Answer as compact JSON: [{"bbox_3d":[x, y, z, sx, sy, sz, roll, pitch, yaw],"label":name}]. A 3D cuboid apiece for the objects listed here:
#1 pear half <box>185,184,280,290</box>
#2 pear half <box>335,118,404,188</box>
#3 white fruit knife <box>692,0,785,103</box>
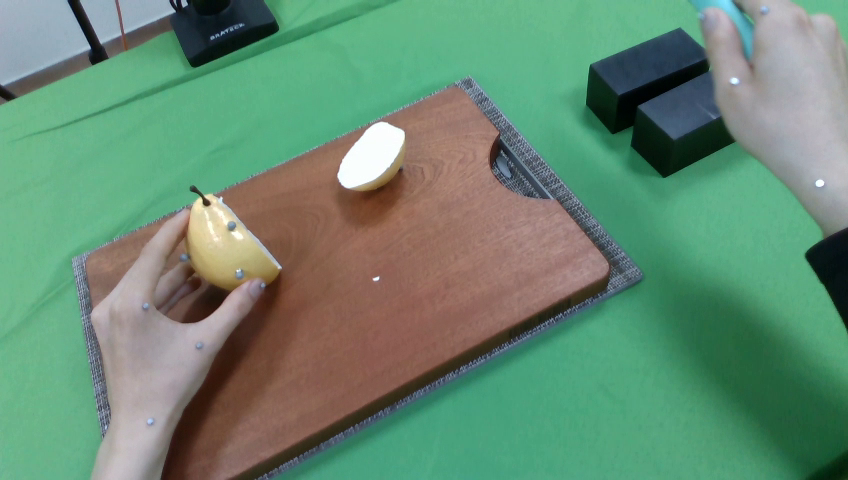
[{"bbox_3d":[-0.165,-0.001,0.481,0.056,0.111,0.075,-43,52,-17],"label":"pear half"},{"bbox_3d":[-0.044,-0.075,0.555,0.070,0.031,0.087,-13,40,21],"label":"pear half"},{"bbox_3d":[0.189,-0.182,0.427,0.016,0.027,0.205,-10,62,-26],"label":"white fruit knife"}]
